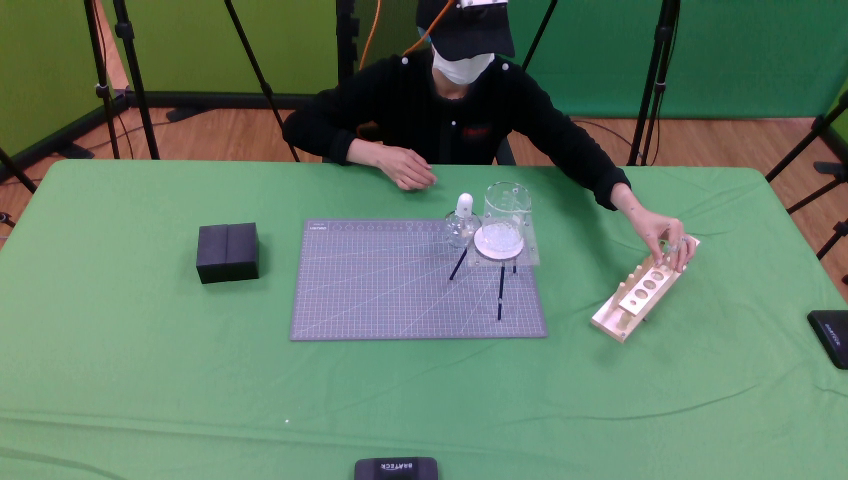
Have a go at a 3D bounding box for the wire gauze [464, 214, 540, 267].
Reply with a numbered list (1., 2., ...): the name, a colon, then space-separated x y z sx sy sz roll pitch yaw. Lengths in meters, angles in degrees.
1. wire gauze: 0.131 -0.001 1.035 0.121 0.011 0.124 1 44 -3

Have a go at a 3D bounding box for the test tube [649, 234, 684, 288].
1. test tube: 0.427 0.042 1.074 0.017 0.151 0.017 1 50 -1

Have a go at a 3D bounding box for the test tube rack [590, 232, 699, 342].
1. test tube rack: 0.407 0.074 1.111 0.066 0.085 0.242 35 54 26

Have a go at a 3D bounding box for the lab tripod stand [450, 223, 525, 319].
1. lab tripod stand: 0.120 0.046 1.080 0.148 0.132 0.147 1 47 -1

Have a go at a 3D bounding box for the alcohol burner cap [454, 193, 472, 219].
1. alcohol burner cap: 0.076 -0.068 1.151 0.034 0.048 0.033 4 46 -4

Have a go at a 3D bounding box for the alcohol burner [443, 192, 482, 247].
1. alcohol burner: 0.075 -0.044 1.177 0.078 0.120 0.077 1 44 -1

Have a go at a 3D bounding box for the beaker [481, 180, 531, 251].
1. beaker: 0.135 -0.036 1.001 0.083 0.101 0.074 30 53 24
